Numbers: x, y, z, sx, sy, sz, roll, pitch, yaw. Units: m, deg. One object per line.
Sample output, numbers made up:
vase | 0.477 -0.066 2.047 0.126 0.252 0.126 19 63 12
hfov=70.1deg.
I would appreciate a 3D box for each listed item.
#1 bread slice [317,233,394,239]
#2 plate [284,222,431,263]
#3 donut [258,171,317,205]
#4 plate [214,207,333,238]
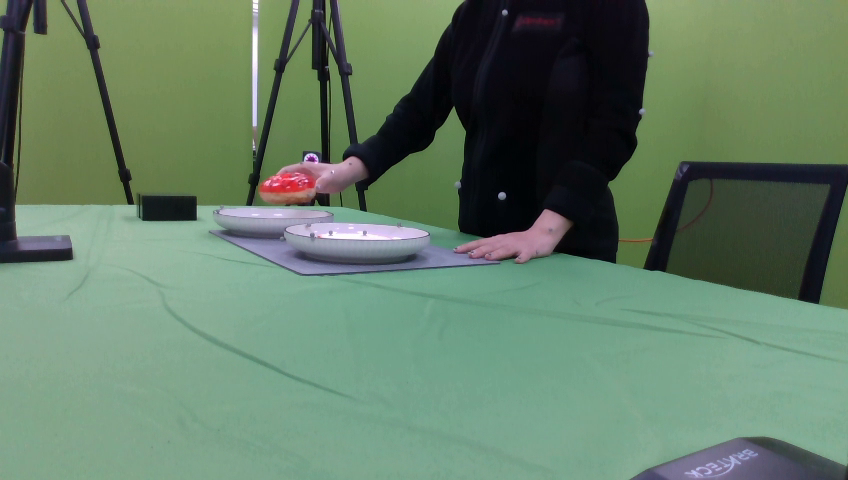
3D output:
bread slice | -0.096 0.004 0.862 0.107 0.018 0.133 -1 7 -31
plate | -0.094 0.003 0.868 0.209 0.038 0.209 2 7 0
donut | -0.231 -0.088 1.024 0.099 0.048 0.099 -2 18 1
plate | -0.268 -0.032 1.085 0.208 0.039 0.207 2 7 0
